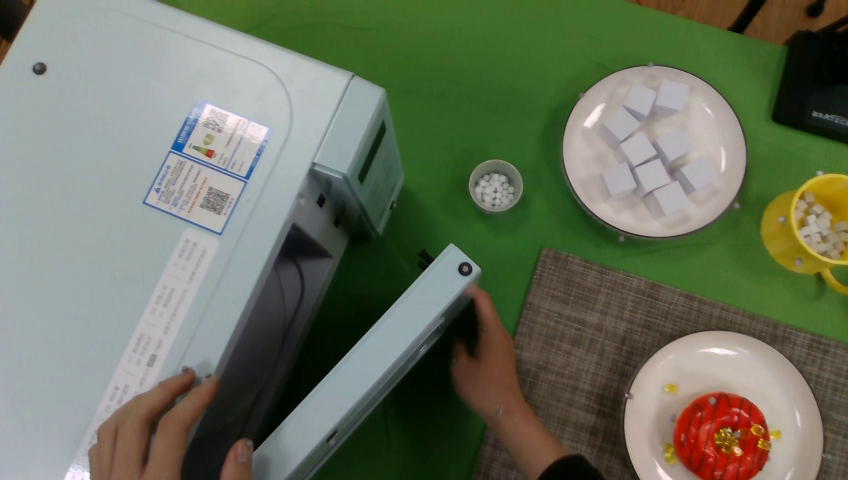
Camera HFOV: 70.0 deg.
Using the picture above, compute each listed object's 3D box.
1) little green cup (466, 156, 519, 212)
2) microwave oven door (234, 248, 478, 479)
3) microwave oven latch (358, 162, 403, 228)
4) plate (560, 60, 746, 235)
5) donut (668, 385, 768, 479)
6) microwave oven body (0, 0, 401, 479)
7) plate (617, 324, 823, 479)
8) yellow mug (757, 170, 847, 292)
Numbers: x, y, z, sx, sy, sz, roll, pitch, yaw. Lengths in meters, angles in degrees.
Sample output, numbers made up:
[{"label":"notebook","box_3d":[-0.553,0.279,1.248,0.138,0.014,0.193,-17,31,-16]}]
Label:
[{"label":"little green cup","box_3d":[0.078,-0.062,0.697,0.061,0.039,0.061,0,82,3]},{"label":"microwave oven door","box_3d":[-0.086,0.158,0.542,0.039,0.245,0.355,42,84,10]},{"label":"microwave oven latch","box_3d":[-0.050,-0.056,0.682,0.030,0.029,0.079,24,82,5]},{"label":"plate","box_3d":[0.260,-0.104,0.701,0.207,0.039,0.207,0,80,2]},{"label":"donut","box_3d":[0.305,0.201,0.630,0.099,0.048,0.098,-1,82,4]},{"label":"microwave oven body","box_3d":[-0.257,0.035,0.574,0.325,0.261,0.440,21,82,5]},{"label":"plate","box_3d":[0.307,0.194,0.643,0.209,0.038,0.208,0,80,2]},{"label":"yellow mug","box_3d":[0.438,-0.006,0.665,0.100,0.064,0.130,-18,81,-2]}]
